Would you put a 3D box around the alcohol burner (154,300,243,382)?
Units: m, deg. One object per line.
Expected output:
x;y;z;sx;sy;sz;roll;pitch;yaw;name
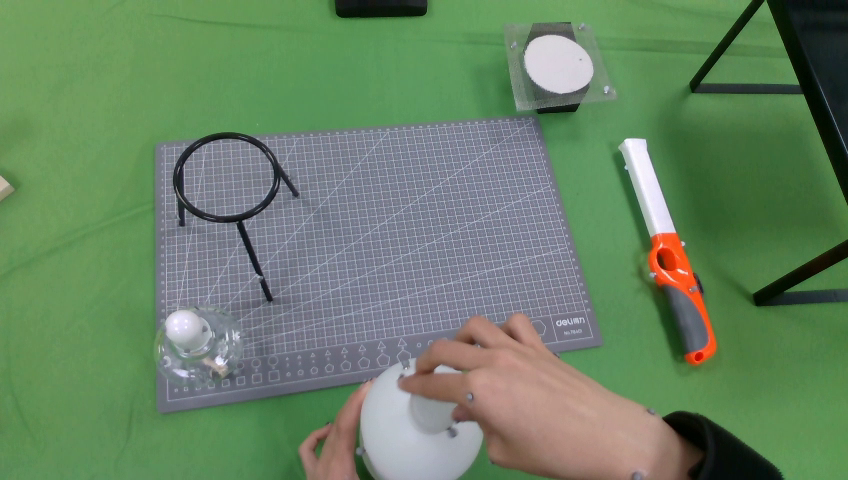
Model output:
-0.205;0.085;0.543;0.078;0.120;0.077;4;64;-7;alcohol burner

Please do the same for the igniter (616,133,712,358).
0.273;-0.001;0.694;0.057;0.025;0.274;-2;67;-20;igniter

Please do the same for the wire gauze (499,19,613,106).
0.156;-0.218;0.730;0.122;0.011;0.124;-5;68;-9;wire gauze

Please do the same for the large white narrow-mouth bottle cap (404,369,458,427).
0.004;0.108;0.415;0.038;0.024;0.037;3;66;-5;large white narrow-mouth bottle cap

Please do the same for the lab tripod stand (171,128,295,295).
-0.178;-0.032;0.586;0.149;0.132;0.147;4;67;-8;lab tripod stand

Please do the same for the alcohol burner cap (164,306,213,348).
-0.200;0.072;0.510;0.034;0.048;0.033;2;72;-6;alcohol burner cap

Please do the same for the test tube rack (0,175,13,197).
-0.529;-0.011;0.560;0.066;0.085;0.242;39;67;10;test tube rack

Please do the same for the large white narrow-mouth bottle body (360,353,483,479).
-0.004;0.148;0.501;0.102;0.196;0.101;2;66;-5;large white narrow-mouth bottle body
